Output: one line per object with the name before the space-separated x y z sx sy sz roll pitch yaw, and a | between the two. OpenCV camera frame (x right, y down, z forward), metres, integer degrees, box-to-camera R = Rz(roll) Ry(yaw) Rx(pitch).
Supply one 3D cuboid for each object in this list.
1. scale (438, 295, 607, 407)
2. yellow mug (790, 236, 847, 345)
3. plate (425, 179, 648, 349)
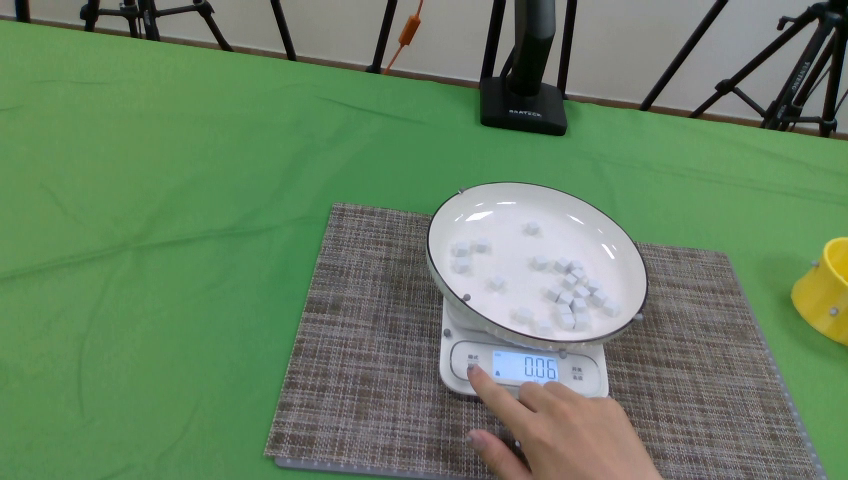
scale | 0.092 0.060 0.577 0.149 0.032 0.199 8 44 -2
yellow mug | 0.449 0.063 0.620 0.100 0.064 0.129 6 44 -4
plate | 0.102 0.021 0.571 0.209 0.038 0.207 6 44 -5
